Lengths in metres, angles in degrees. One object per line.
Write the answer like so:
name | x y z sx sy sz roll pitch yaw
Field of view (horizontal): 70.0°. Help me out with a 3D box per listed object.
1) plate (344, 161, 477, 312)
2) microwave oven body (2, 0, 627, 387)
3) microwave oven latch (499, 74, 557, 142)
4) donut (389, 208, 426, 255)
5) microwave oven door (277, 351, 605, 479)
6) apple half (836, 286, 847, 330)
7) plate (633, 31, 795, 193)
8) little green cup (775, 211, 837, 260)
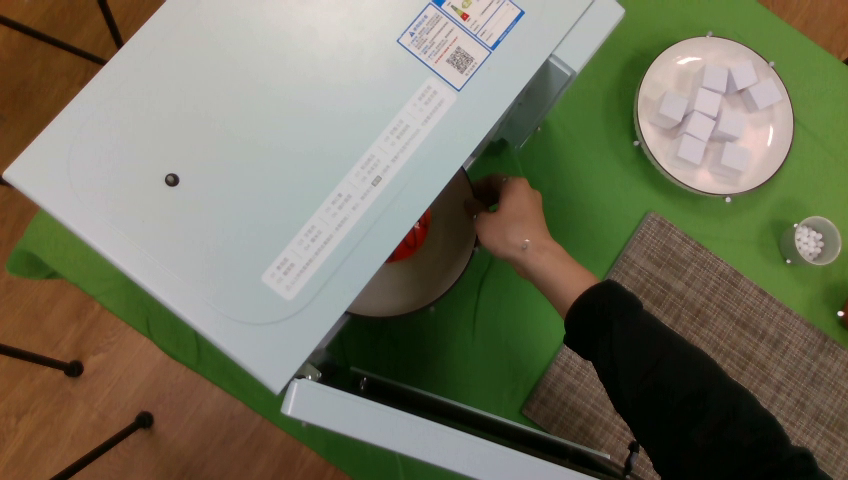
plate | -0.050 -0.028 0.637 0.209 0.038 0.208 0 85 -3
microwave oven body | -0.092 -0.125 0.608 0.326 0.260 0.441 39 82 0
microwave oven latch | 0.126 -0.158 0.729 0.030 0.029 0.079 41 82 0
donut | -0.047 -0.032 0.627 0.099 0.048 0.099 0 88 -3
microwave oven door | 0.049 0.186 0.580 0.356 0.244 0.039 19 81 -3
apple half | 0.541 0.082 0.742 0.053 0.075 0.080 9 86 1
plate | 0.362 -0.159 0.771 0.208 0.039 0.207 1 83 -5
little green cup | 0.478 -0.003 0.763 0.061 0.038 0.061 1 82 -5
